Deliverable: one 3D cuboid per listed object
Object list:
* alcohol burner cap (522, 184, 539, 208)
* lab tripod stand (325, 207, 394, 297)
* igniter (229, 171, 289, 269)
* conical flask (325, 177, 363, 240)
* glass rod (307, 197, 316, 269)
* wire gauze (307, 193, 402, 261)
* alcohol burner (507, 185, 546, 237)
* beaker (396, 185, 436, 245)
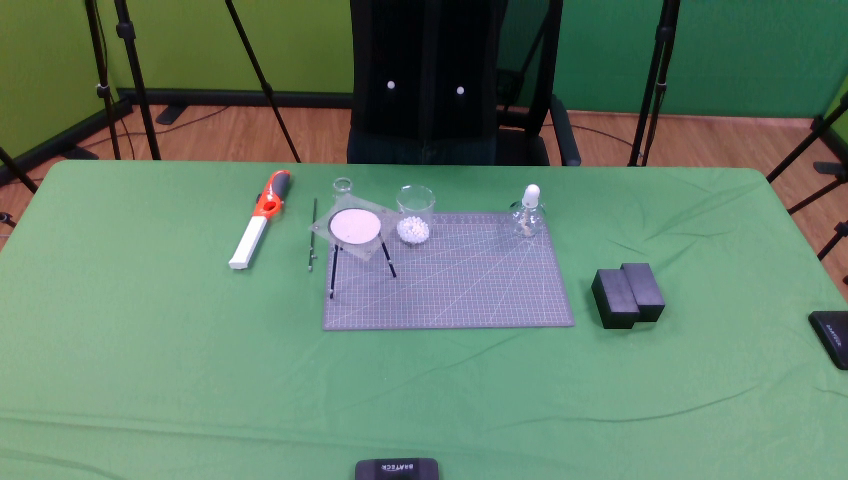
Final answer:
[{"bbox_3d":[0.210,-0.087,1.183,0.034,0.048,0.033,0,53,0],"label":"alcohol burner cap"},{"bbox_3d":[-0.124,0.017,1.092,0.148,0.132,0.147,3,44,-3],"label":"lab tripod stand"},{"bbox_3d":[-0.328,-0.049,1.218,0.057,0.025,0.275,1,45,10],"label":"igniter"},{"bbox_3d":[-0.158,-0.064,1.176,0.075,0.122,0.075,2,46,-2],"label":"conical flask"},{"bbox_3d":[-0.224,-0.018,1.210,0.008,0.008,0.198,-1,46,-5],"label":"glass rod"},{"bbox_3d":[-0.118,-0.028,1.043,0.125,0.011,0.121,24,47,17],"label":"wire gauze"},{"bbox_3d":[0.208,-0.063,1.210,0.078,0.119,0.077,3,44,-3],"label":"alcohol burner"},{"bbox_3d":[-0.022,-0.048,1.187,0.074,0.101,0.083,-28,54,-28],"label":"beaker"}]
